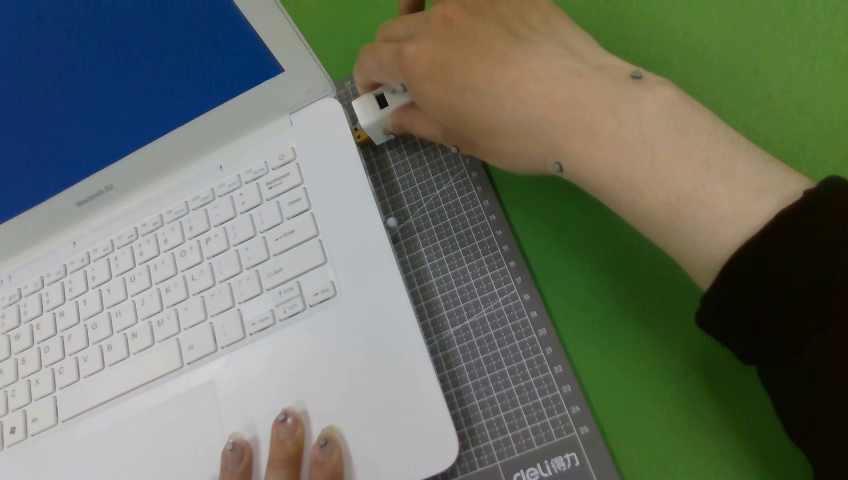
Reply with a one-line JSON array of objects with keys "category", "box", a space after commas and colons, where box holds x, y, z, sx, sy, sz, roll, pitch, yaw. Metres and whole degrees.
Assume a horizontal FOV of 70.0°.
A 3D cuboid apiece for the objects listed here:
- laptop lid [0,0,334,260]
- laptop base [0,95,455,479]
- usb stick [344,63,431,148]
[{"category": "laptop lid", "box": [-0.257, -0.089, 0.331, 0.356, 0.244, 0.013, -26, 47, 10]}, {"category": "laptop base", "box": [-0.174, 0.079, 0.368, 0.354, 0.023, 0.233, -25, 68, 9]}, {"category": "usb stick", "box": [-0.027, -0.075, 0.357, 0.059, 0.027, 0.021, -34, 66, 26]}]
